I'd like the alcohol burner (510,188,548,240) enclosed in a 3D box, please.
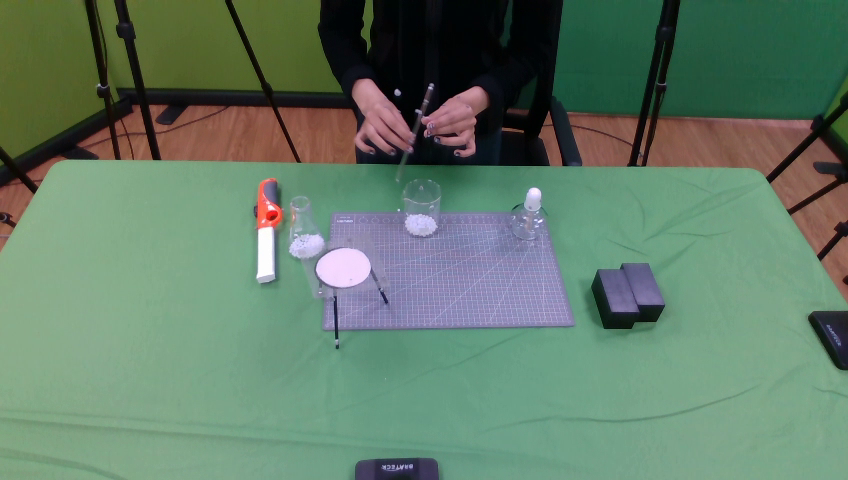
[{"bbox_3d":[0.211,-0.057,1.204,0.078,0.120,0.077,1,47,-1],"label":"alcohol burner"}]

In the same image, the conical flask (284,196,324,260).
[{"bbox_3d":[-0.230,-0.026,1.137,0.075,0.122,0.075,2,45,-2],"label":"conical flask"}]

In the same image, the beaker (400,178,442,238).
[{"bbox_3d":[-0.009,-0.059,1.200,0.084,0.101,0.073,-14,48,-17],"label":"beaker"}]

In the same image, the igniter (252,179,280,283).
[{"bbox_3d":[-0.312,-0.027,1.197,0.057,0.025,0.274,-12,47,-1],"label":"igniter"}]

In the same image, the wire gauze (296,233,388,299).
[{"bbox_3d":[-0.133,0.041,0.977,0.125,0.011,0.120,-12,47,-16],"label":"wire gauze"}]

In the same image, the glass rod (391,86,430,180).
[{"bbox_3d":[-0.026,-0.186,1.082,0.008,0.200,0.008,16,38,-12],"label":"glass rod"}]

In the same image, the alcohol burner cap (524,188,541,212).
[{"bbox_3d":[0.212,-0.081,1.177,0.034,0.048,0.033,-2,54,2],"label":"alcohol burner cap"}]

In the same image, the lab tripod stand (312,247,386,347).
[{"bbox_3d":[-0.134,0.085,1.028,0.148,0.132,0.147,2,45,-1],"label":"lab tripod stand"}]
